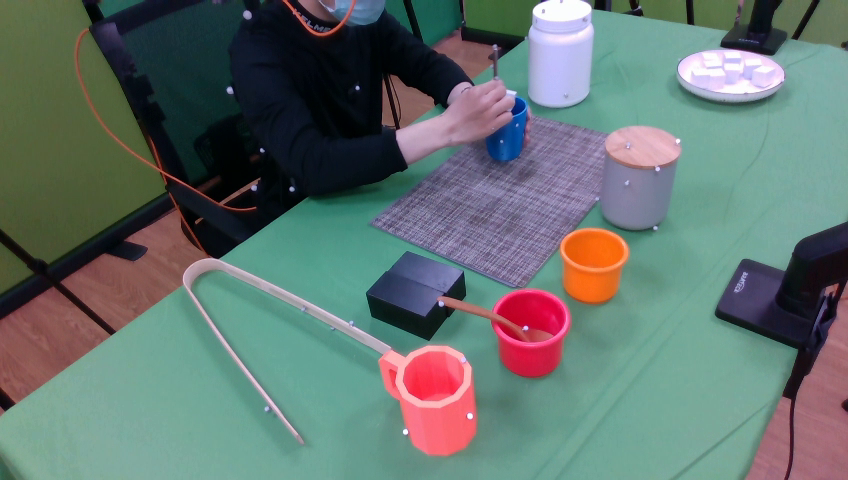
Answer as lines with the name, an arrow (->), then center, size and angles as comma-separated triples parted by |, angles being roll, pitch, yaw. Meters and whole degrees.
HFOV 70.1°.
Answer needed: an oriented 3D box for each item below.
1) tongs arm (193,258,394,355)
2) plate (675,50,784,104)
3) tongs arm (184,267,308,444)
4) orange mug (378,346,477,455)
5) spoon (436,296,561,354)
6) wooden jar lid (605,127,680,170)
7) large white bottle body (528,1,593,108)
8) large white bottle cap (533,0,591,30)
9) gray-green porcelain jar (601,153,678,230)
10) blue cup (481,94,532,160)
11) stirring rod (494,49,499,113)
tongs arm -> -0.204, 0.099, 0.881 | 0.382, 0.027, 0.051 | 23, 55, 32
plate -> 0.632, -0.336, 1.262 | 0.207, 0.039, 0.206 | -4, 41, 4
tongs arm -> -0.259, 0.147, 0.843 | 0.028, 0.028, 0.384 | -38, 48, -18
orange mug -> 0.002, 0.179, 0.708 | 0.125, 0.101, 0.083 | 25, 50, 27
spoon -> 0.096, 0.102, 0.750 | 0.195, 0.021, 0.041 | 28, 30, -27
wooden jar lid -> 0.327, -0.134, 0.909 | 0.108, 0.021, 0.108 | -2, 43, 2
large white bottle body -> 0.283, -0.386, 1.259 | 0.130, 0.185, 0.130 | -5, 41, 4
large white bottle cap -> 0.274, -0.449, 1.204 | 0.115, 0.018, 0.114 | -4, 41, 4
gray-green porcelain jar -> 0.334, -0.087, 0.949 | 0.106, 0.127, 0.105 | -4, 40, 4
blue cup -> 0.151, -0.207, 1.130 | 0.092, 0.100, 0.092 | -4, 39, 4
stirring rod -> 0.129, -0.251, 1.063 | 0.006, 0.177, 0.014 | 5, 41, 14
